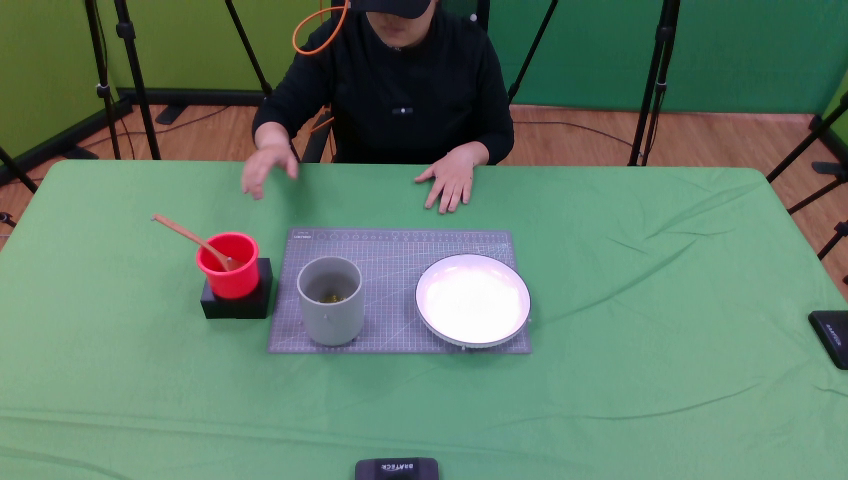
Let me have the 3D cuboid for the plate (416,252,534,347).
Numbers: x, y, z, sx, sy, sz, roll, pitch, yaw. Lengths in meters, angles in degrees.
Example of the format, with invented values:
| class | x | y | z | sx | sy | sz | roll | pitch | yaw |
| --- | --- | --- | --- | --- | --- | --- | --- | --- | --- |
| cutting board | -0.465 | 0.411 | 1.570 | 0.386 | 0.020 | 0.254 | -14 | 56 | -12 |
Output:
| class | x | y | z | sx | sy | sz | roll | pitch | yaw |
| --- | --- | --- | --- | --- | --- | --- | --- | --- | --- |
| plate | 0.090 | 0.109 | 1.084 | 0.208 | 0.039 | 0.206 | 2 | 46 | -2 |

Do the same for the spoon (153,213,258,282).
| class | x | y | z | sx | sy | sz | roll | pitch | yaw |
| --- | --- | --- | --- | --- | --- | --- | --- | --- | --- |
| spoon | -0.360 | 0.012 | 1.005 | 0.195 | 0.021 | 0.041 | 41 | 37 | -26 |

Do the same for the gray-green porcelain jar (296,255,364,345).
| class | x | y | z | sx | sy | sz | roll | pitch | yaw |
| --- | --- | --- | --- | --- | --- | --- | --- | --- | --- |
| gray-green porcelain jar | -0.153 | 0.105 | 1.008 | 0.106 | 0.127 | 0.105 | 2 | 46 | -2 |
